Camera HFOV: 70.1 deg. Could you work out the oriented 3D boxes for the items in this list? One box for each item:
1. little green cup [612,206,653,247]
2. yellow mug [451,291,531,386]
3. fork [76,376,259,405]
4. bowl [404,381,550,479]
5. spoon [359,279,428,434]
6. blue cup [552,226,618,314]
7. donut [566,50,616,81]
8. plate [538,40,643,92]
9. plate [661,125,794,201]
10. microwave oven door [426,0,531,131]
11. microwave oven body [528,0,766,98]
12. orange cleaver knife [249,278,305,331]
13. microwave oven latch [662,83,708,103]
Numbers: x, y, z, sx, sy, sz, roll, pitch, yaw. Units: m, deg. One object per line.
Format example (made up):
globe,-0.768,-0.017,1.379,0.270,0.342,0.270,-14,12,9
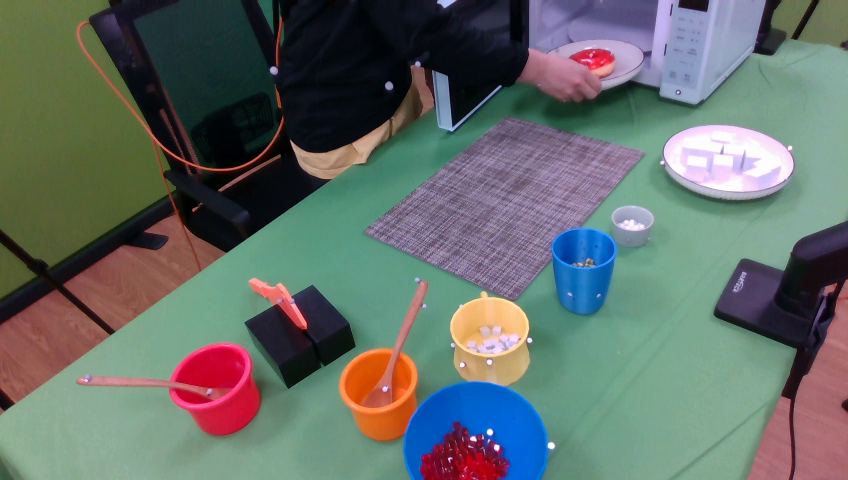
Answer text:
little green cup,0.321,-0.019,0.936,0.061,0.039,0.061,-4,40,4
yellow mug,0.085,0.120,0.786,0.100,0.064,0.130,-7,39,1
fork,-0.295,0.176,0.716,0.209,0.018,0.028,19,27,-37
bowl,0.058,0.235,0.645,0.151,0.077,0.150,-4,39,4
spoon,-0.032,0.138,0.719,0.041,0.193,0.022,22,4,30
blue cup,0.218,0.047,0.825,0.092,0.101,0.092,-6,40,5
donut,0.338,-0.357,1.228,0.099,0.048,0.098,-8,31,5
plate,0.340,-0.353,1.240,0.209,0.038,0.208,-8,38,6
plate,0.513,-0.128,1.035,0.207,0.039,0.206,-4,40,4
microwave oven door,0.124,-0.418,1.250,0.039,0.245,0.356,19,47,29
microwave oven body,0.472,-0.513,1.317,0.438,0.261,0.327,26,51,34
orange cleaver knife,-0.210,0.088,0.856,0.012,0.077,0.210,-28,15,-25
microwave oven latch,0.518,-0.297,1.204,0.030,0.029,0.078,-37,47,-29
